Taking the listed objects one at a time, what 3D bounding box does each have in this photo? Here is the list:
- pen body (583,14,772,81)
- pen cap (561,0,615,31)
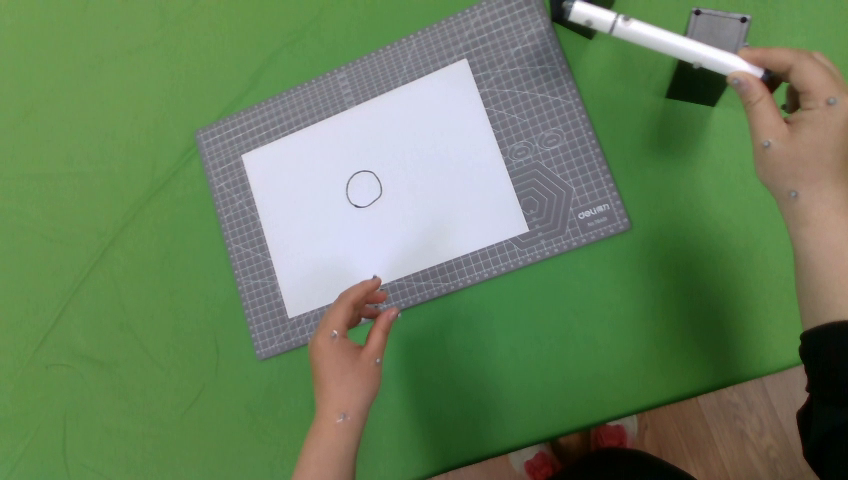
[{"bbox_3d":[0.182,-0.146,0.448,0.144,0.017,0.017,20,90,6],"label":"pen body"},{"bbox_3d":[0.124,-0.172,0.458,0.038,0.017,0.017,22,90,7],"label":"pen cap"}]
